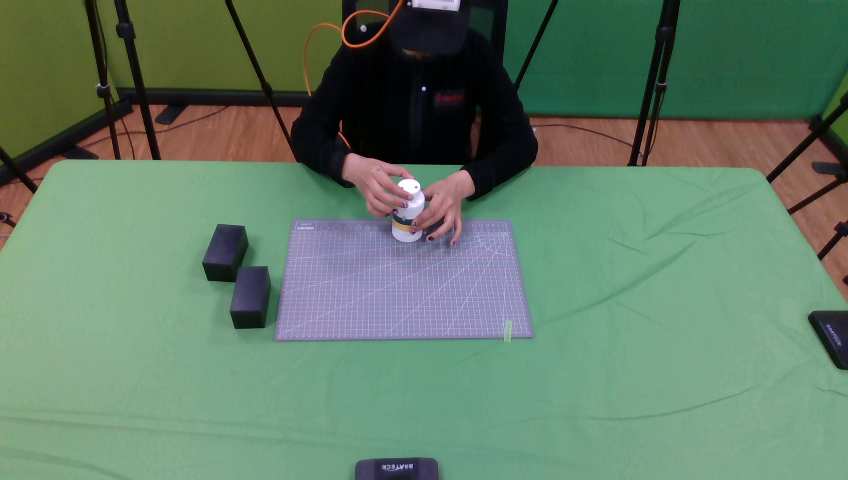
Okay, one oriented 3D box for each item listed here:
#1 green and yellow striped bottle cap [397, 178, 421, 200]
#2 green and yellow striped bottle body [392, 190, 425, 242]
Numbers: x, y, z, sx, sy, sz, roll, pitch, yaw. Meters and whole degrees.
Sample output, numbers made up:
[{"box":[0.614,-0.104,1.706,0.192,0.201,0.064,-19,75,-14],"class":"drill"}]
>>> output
[{"box":[-0.028,-0.097,1.139,0.045,0.020,0.045,1,48,-1],"class":"green and yellow striped bottle cap"},{"box":[-0.030,-0.058,1.178,0.063,0.120,0.063,2,46,-2],"class":"green and yellow striped bottle body"}]
